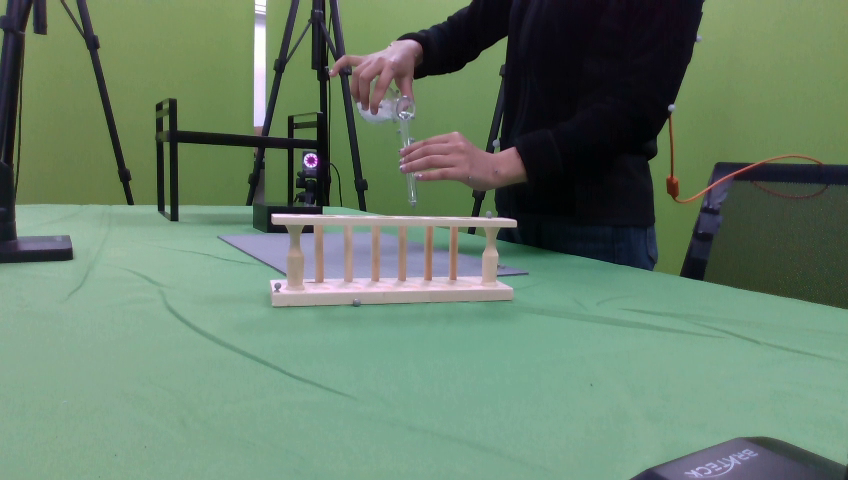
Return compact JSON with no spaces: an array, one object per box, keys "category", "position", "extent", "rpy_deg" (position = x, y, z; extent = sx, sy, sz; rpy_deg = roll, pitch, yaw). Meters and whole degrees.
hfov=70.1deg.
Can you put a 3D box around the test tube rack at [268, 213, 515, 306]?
[{"category":"test tube rack","position":[-0.033,0.015,0.617],"extent":[0.243,0.085,0.066],"rpy_deg":[0,8,-17]}]

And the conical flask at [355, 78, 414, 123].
[{"category":"conical flask","position":[-0.060,-0.225,0.996],"extent":[0.076,0.075,0.121],"rpy_deg":[-2,17,-29]}]

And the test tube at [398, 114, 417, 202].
[{"category":"test tube","position":[-0.025,-0.126,0.920],"extent":[0.017,0.150,0.017],"rpy_deg":[-6,-23,-2]}]
